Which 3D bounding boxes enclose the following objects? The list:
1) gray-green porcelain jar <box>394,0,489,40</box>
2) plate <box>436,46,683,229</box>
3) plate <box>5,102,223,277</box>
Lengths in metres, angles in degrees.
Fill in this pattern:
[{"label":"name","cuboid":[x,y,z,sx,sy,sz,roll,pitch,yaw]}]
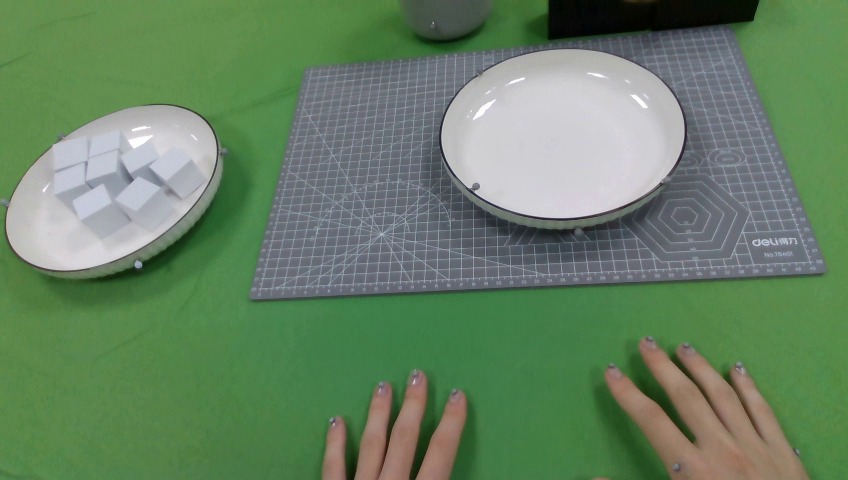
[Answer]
[{"label":"gray-green porcelain jar","cuboid":[0.014,-0.289,0.644,0.106,0.128,0.105,-5,54,8]},{"label":"plate","cuboid":[0.115,-0.091,0.534,0.209,0.038,0.207,-5,54,8]},{"label":"plate","cuboid":[-0.290,-0.049,0.585,0.207,0.039,0.205,-5,54,7]}]
